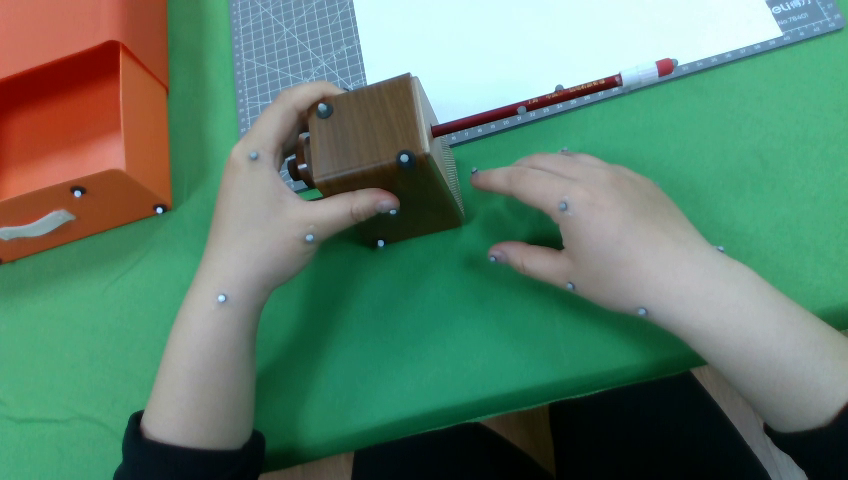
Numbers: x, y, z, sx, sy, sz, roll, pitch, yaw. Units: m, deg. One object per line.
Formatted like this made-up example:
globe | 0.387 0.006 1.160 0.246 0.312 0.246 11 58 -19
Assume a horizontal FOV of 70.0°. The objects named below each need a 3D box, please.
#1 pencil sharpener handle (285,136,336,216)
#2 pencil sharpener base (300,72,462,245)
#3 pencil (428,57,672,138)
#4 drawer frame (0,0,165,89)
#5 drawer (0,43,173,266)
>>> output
pencil sharpener handle | -0.077 -0.036 0.391 0.030 0.068 0.035 -14 60 11
pencil sharpener base | -0.025 -0.046 0.394 0.076 0.108 0.061 -14 67 11
pencil | 0.045 -0.076 0.355 0.194 0.012 0.012 -14 66 9
drawer frame | -0.344 -0.202 0.550 0.201 0.083 0.211 -17 65 7
drawer | -0.318 -0.097 0.504 0.194 0.074 0.210 -17 65 8
